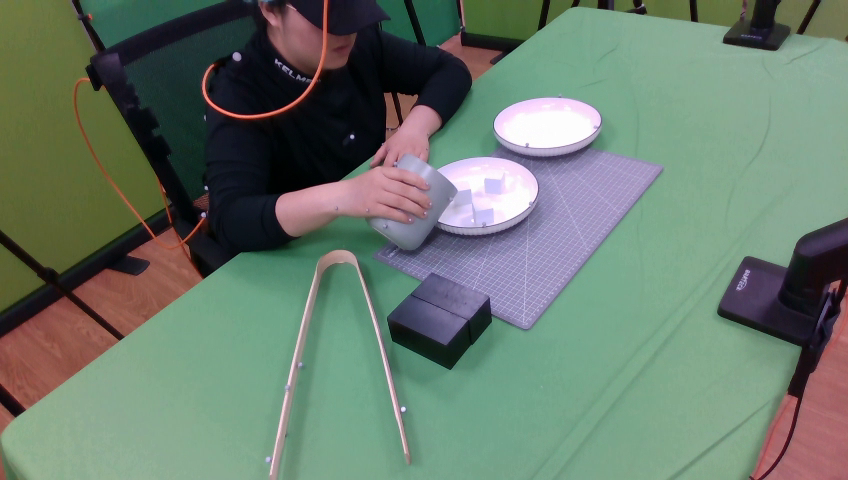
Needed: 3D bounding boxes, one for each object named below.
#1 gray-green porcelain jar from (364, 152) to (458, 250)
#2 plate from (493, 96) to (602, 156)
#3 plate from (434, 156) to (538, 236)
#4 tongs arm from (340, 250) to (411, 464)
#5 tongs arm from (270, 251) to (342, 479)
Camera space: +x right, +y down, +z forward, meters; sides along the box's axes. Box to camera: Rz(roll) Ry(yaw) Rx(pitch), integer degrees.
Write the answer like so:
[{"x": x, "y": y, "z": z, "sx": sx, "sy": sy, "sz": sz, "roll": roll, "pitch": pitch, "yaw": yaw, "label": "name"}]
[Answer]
[{"x": -0.024, "y": -0.056, "z": 0.944, "sx": 0.105, "sy": 0.107, "sz": 0.126, "roll": 32, "pitch": 85, "yaw": 38, "label": "gray-green porcelain jar"}, {"x": 0.239, "y": -0.218, "z": 1.180, "sx": 0.209, "sy": 0.038, "sz": 0.208, "roll": -5, "pitch": 39, "yaw": 4, "label": "plate"}, {"x": 0.090, "y": -0.072, "z": 1.034, "sx": 0.207, "sy": 0.039, "sz": 0.206, "roll": -5, "pitch": 40, "yaw": 5, "label": "plate"}, {"x": -0.070, "y": 0.136, "z": 0.830, "sx": 0.028, "sy": 0.028, "sz": 0.384, "roll": -18, "pitch": 40, "yaw": -5, "label": "tongs arm"}, {"x": -0.152, "y": 0.148, "z": 0.826, "sx": 0.051, "sy": 0.026, "sz": 0.382, "roll": -6, "pitch": 39, "yaw": 3, "label": "tongs arm"}]
